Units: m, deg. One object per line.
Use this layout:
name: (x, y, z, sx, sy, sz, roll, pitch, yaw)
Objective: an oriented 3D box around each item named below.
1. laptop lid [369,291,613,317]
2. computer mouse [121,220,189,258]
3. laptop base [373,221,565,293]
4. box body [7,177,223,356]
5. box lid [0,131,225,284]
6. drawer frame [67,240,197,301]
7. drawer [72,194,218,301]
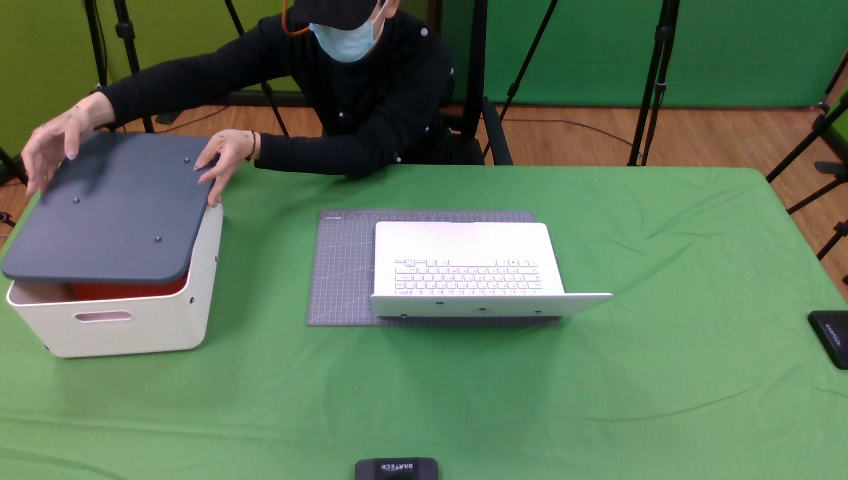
laptop lid: (0.092, 0.104, 0.965, 0.357, 0.242, 0.013, 0, 76, -5)
computer mouse: (-0.511, -0.003, 1.152, 0.117, 0.041, 0.062, 12, 42, -3)
laptop base: (0.080, 0.049, 1.159, 0.355, 0.023, 0.234, 0, 43, -4)
box body: (-0.499, 0.012, 1.051, 0.254, 0.161, 0.361, -3, 47, -7)
box lid: (-0.496, -0.070, 1.012, 0.263, 0.015, 0.369, 2, 44, -6)
drawer frame: (-0.498, 0.003, 1.095, 0.202, 0.083, 0.212, -2, 51, -5)
drawer: (-0.496, 0.010, 1.103, 0.195, 0.073, 0.210, 1, 46, -6)
